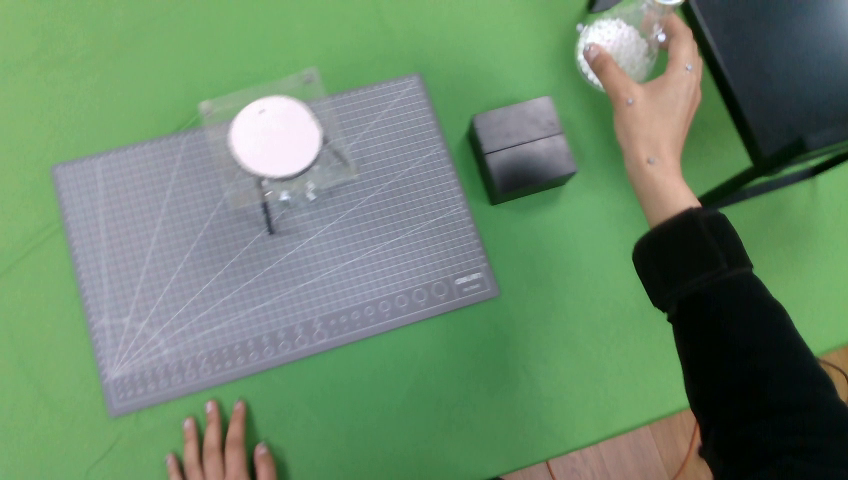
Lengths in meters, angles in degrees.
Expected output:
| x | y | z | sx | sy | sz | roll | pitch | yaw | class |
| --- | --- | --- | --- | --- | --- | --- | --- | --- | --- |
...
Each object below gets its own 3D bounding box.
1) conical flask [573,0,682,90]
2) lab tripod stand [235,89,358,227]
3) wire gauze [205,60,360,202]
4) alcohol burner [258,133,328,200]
| x | y | z | sx | sy | sz | roll | pitch | yaw | class |
| --- | --- | --- | --- | --- | --- | --- | --- | --- | --- |
| 0.177 | -0.182 | 0.509 | 0.075 | 0.122 | 0.075 | 0 | 81 | -2 | conical flask |
| -0.149 | -0.096 | 0.655 | 0.148 | 0.132 | 0.147 | 1 | 78 | -3 | lab tripod stand |
| -0.139 | -0.106 | 0.589 | 0.125 | 0.011 | 0.121 | -17 | 80 | -8 | wire gauze |
| -0.146 | -0.086 | 0.663 | 0.078 | 0.119 | 0.077 | 1 | 79 | -3 | alcohol burner |
